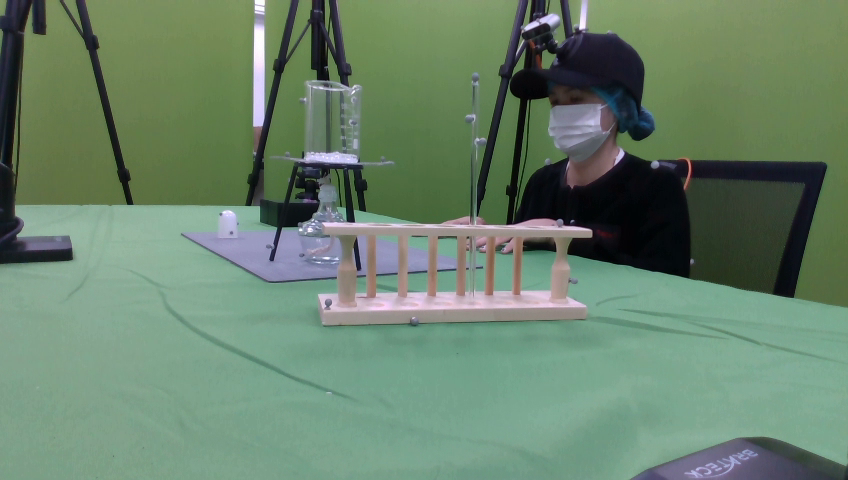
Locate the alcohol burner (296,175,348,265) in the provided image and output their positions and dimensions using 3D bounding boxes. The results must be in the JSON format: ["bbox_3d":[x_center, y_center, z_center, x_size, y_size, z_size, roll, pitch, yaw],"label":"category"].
[{"bbox_3d":[-0.129,-0.026,0.798,0.078,0.119,0.078,2,9,0],"label":"alcohol burner"}]

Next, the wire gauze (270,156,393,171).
[{"bbox_3d":[-0.122,-0.100,0.786,0.122,0.011,0.124,-5,14,-38],"label":"wire gauze"}]

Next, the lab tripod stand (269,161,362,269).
[{"bbox_3d":[-0.125,-0.036,0.794,0.148,0.131,0.148,5,7,0],"label":"lab tripod stand"}]

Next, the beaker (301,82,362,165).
[{"bbox_3d":[-0.117,-0.147,0.776,0.074,0.100,0.083,-3,10,-38],"label":"beaker"}]

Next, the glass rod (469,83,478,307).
[{"bbox_3d":[0.043,-0.033,0.523,0.008,0.199,0.008,-1,14,1],"label":"glass rod"}]

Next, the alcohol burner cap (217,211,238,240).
[{"bbox_3d":[-0.323,-0.024,0.994,0.034,0.048,0.034,2,8,0],"label":"alcohol burner cap"}]

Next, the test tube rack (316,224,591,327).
[{"bbox_3d":[0.026,0.028,0.555,0.243,0.085,0.066,1,7,-14],"label":"test tube rack"}]
